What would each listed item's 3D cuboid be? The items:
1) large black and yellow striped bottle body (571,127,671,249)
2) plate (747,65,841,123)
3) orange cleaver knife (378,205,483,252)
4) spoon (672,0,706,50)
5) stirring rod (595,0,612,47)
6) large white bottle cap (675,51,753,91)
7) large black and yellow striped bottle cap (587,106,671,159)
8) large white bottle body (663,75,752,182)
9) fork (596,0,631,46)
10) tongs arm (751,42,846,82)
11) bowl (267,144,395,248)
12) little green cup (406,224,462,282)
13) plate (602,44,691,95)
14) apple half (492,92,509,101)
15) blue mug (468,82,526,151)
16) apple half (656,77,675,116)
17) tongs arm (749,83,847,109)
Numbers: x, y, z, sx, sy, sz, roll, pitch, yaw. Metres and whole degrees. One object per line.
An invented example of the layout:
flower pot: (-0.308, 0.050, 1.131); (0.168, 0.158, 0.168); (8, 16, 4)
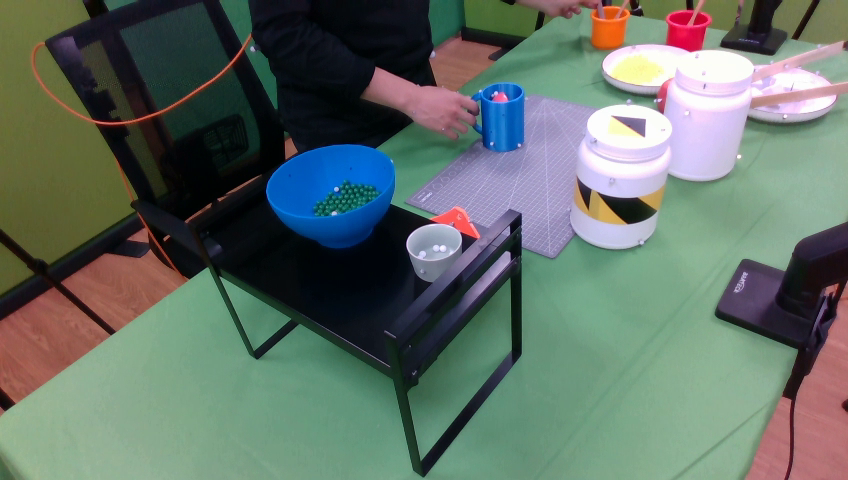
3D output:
large black and yellow striped bottle body: (0.296, -0.093, 0.915); (0.131, 0.185, 0.130); (-3, 42, 3)
plate: (0.694, -0.282, 1.189); (0.207, 0.039, 0.206); (-4, 40, 4)
orange cleaver knife: (0.005, -0.010, 0.943); (0.210, 0.077, 0.012); (-5, 23, 47)
spoon: (0.629, -0.520, 1.394); (0.041, 0.022, 0.193); (29, 97, 34)
stirring rod: (0.428, -0.551, 1.459); (0.014, 0.176, 0.006); (-12, -4, -2)
large white bottle cap: (0.463, -0.271, 0.967); (0.115, 0.018, 0.114); (-4, 40, 4)
large black and yellow striped bottle cap: (0.290, -0.154, 0.858); (0.115, 0.019, 0.114); (-4, 42, 4)
large white bottle body: (0.472, -0.207, 1.022); (0.130, 0.185, 0.130); (-4, 41, 4)
fork: (0.481, -0.556, 1.453); (0.028, 0.019, 0.207); (41, 104, 38)
tongs arm: (0.708, -0.331, 1.194); (0.386, 0.026, 0.050); (-18, 45, -16)
bowl: (-0.104, -0.043, 0.726); (0.151, 0.077, 0.150); (-4, 40, 4)
little green cup: (0.013, 0.015, 0.668); (0.061, 0.039, 0.061); (-4, 40, 4)
plate: (0.494, -0.367, 1.317); (0.209, 0.038, 0.208); (-4, 40, 4)
apple half: (0.143, -0.240, 1.159); (0.033, 0.081, 0.080); (-11, 40, -13)
blue mug: (0.139, -0.242, 1.170); (0.116, 0.106, 0.082); (14, 45, 24)
apple half: (0.488, -0.281, 1.192); (0.053, 0.075, 0.081); (24, 54, 37)
tongs arm: (0.734, -0.280, 1.133); (0.388, 0.028, 0.028); (-9, 47, -5)
